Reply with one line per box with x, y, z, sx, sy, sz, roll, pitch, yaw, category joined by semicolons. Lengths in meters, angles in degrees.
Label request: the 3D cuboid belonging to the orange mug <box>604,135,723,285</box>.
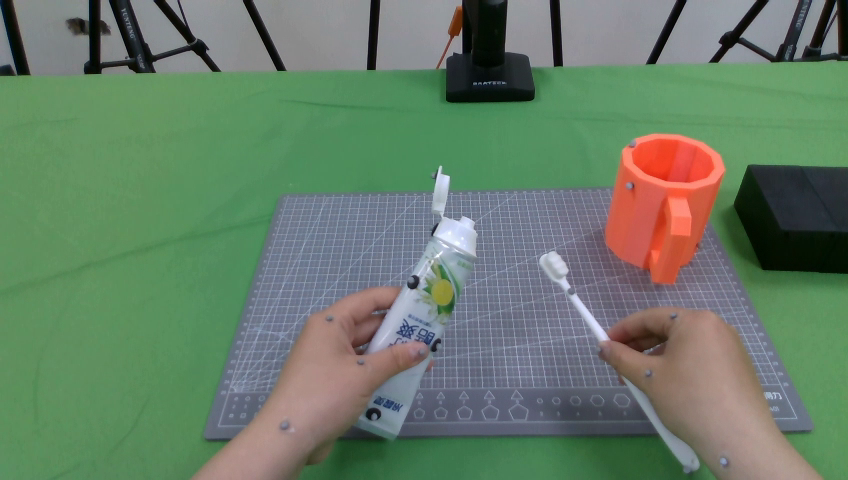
0.216;-0.024;0.550;0.083;0.102;0.125;5;38;8;orange mug

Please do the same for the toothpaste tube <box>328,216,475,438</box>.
-0.009;0.057;0.425;0.055;0.165;0.034;26;0;-11;toothpaste tube

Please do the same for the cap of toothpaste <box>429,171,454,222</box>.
0.013;-0.031;0.429;0.011;0.037;0.037;11;43;12;cap of toothpaste

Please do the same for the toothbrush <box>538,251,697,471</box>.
0.139;0.084;0.435;0.014;0.017;0.181;-27;78;-29;toothbrush
